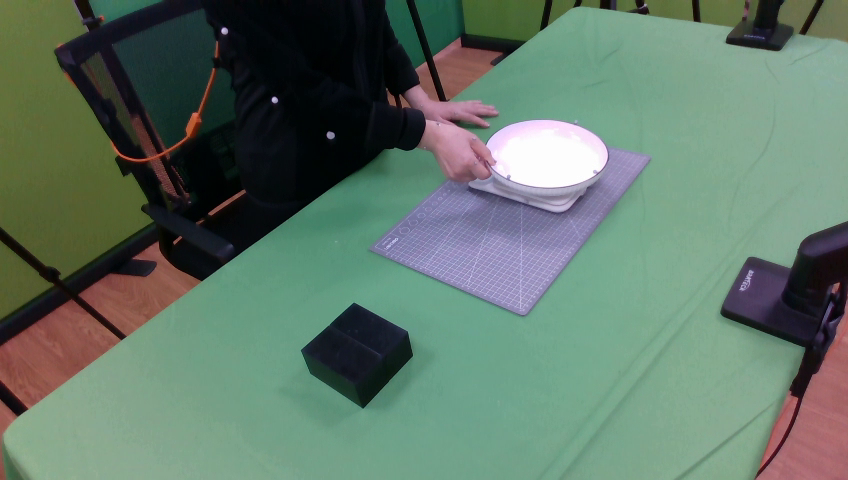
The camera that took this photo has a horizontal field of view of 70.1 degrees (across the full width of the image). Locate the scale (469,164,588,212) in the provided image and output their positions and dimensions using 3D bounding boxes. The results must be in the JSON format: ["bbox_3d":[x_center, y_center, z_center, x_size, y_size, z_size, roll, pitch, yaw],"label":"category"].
[{"bbox_3d":[0.195,-0.117,1.075,0.199,0.032,0.149,21,48,32],"label":"scale"}]

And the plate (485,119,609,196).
[{"bbox_3d":[0.207,-0.138,1.031,0.209,0.038,0.208,-1,43,2],"label":"plate"}]
